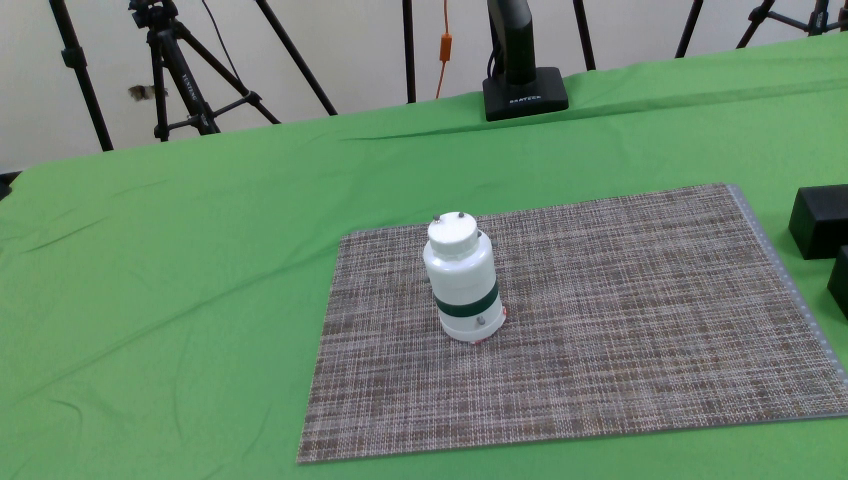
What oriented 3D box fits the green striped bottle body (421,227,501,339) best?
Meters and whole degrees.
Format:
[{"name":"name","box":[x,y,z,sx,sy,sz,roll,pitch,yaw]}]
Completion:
[{"name":"green striped bottle body","box":[0.034,0.032,0.562,0.063,0.120,0.062,-8,41,8]}]

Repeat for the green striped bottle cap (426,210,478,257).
[{"name":"green striped bottle cap","box":[0.024,-0.006,0.528,0.044,0.020,0.044,-10,40,9]}]
